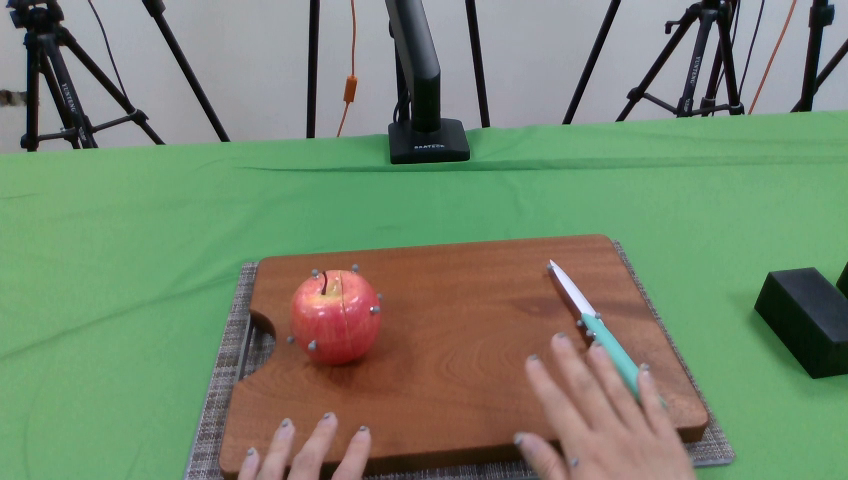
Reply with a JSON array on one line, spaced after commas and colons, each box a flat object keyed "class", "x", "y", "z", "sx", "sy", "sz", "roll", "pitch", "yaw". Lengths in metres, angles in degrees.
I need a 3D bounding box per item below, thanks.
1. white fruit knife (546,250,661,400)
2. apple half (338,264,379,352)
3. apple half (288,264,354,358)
[{"class": "white fruit knife", "x": 0.161, "y": 0.071, "z": 0.583, "sx": 0.027, "sy": 0.016, "sz": 0.205, "roll": 16, "pitch": 28, "yaw": -27}, {"class": "apple half", "x": -0.056, "y": 0.060, "z": 0.551, "sx": 0.033, "sy": 0.082, "sz": 0.080, "roll": -11, "pitch": 39, "yaw": -6}, {"class": "apple half", "x": -0.094, "y": 0.067, "z": 0.546, "sx": 0.053, "sy": 0.075, "sz": 0.080, "roll": -11, "pitch": 43, "yaw": -5}]
